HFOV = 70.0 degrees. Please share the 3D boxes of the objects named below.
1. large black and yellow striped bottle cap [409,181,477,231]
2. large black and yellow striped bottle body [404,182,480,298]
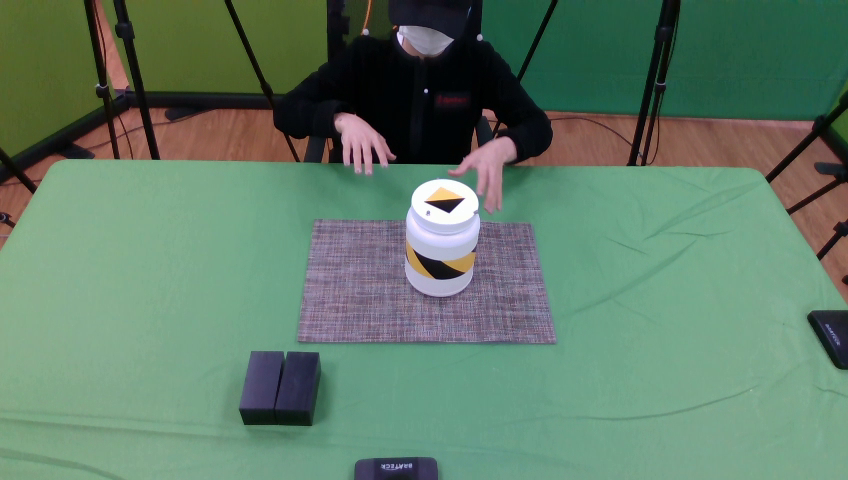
[{"bbox_3d":[0.033,-0.059,1.023,0.115,0.019,0.114,3,44,-2],"label":"large black and yellow striped bottle cap"},{"bbox_3d":[0.030,-0.001,1.083,0.131,0.185,0.130,2,46,-2],"label":"large black and yellow striped bottle body"}]
